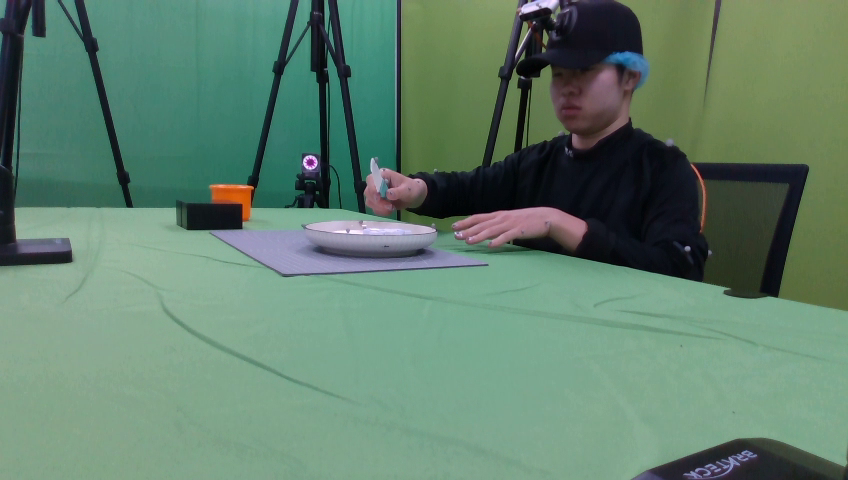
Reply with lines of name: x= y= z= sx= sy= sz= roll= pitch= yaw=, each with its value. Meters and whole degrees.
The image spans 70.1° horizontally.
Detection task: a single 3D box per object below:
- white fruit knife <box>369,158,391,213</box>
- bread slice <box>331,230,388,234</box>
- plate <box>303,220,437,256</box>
white fruit knife: x=-0.072 y=-0.089 z=0.991 sx=0.016 sy=0.027 sz=0.207 roll=19 pitch=-14 yaw=8
bread slice: x=-0.088 y=0.000 z=0.946 sx=0.105 sy=0.019 sz=0.131 roll=-3 pitch=10 yaw=-44
plate: x=-0.084 y=-0.003 z=0.951 sx=0.209 sy=0.038 sz=0.209 roll=3 pitch=7 yaw=0
